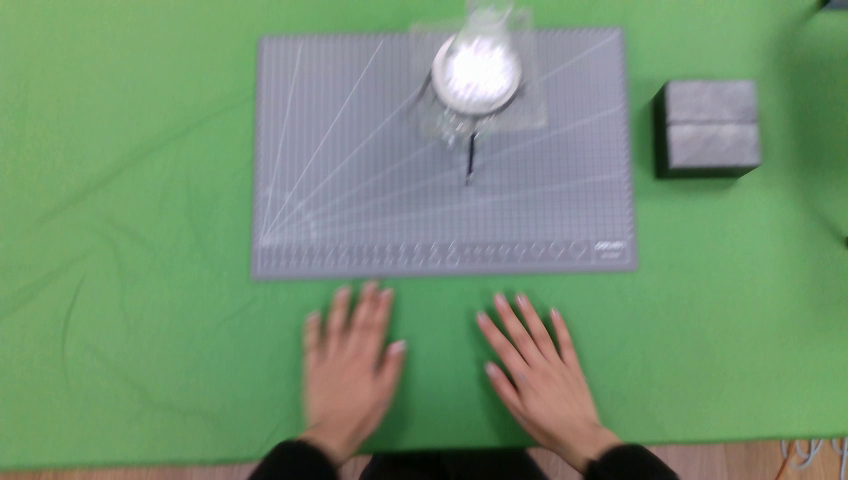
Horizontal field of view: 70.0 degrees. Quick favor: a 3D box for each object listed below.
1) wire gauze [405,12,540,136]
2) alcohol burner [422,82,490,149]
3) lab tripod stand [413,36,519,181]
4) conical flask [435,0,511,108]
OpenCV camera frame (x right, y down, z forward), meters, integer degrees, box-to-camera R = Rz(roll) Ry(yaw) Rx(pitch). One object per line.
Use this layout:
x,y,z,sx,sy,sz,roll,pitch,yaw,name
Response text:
0.048,-0.165,0.604,0.125,0.011,0.121,-6,82,-4,wire gauze
0.037,-0.146,0.677,0.078,0.119,0.077,0,79,-1,alcohol burner
0.051,-0.155,0.669,0.148,0.132,0.147,0,78,0,lab tripod stand
0.048,-0.176,0.546,0.075,0.122,0.075,0,79,0,conical flask
